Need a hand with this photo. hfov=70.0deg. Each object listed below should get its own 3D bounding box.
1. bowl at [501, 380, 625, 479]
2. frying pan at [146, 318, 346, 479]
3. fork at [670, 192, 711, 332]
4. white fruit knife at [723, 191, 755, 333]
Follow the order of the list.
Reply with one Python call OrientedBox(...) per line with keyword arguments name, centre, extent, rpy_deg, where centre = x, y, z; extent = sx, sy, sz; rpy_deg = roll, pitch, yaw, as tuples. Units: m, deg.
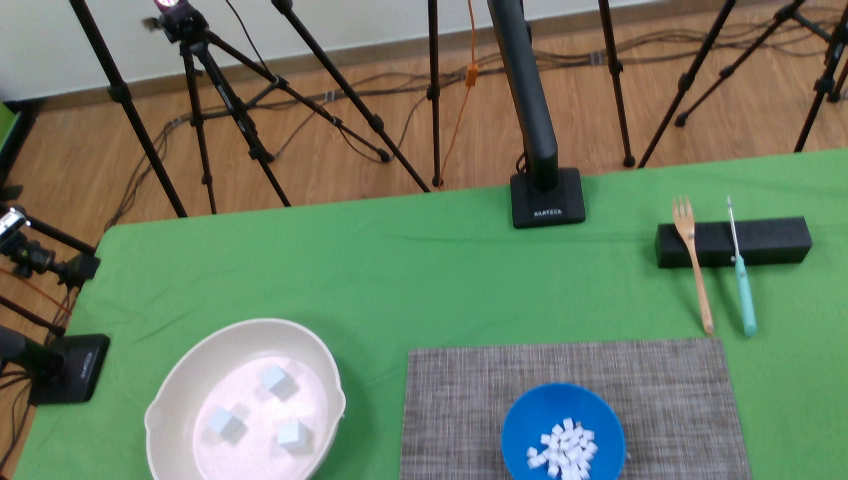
OrientedBox(name="bowl", centre=(0.177, 0.265, 0.775), extent=(0.151, 0.077, 0.150), rpy_deg=(-6, 56, 10))
OrientedBox(name="frying pan", centre=(-0.259, 0.336, 0.823), extent=(0.306, 0.104, 0.483), rpy_deg=(-5, 48, 11))
OrientedBox(name="fork", centre=(0.388, 0.030, 0.877), extent=(0.028, 0.019, 0.206), rpy_deg=(-8, 76, 3))
OrientedBox(name="white fruit knife", centre=(0.445, 0.028, 0.863), extent=(0.016, 0.027, 0.206), rpy_deg=(-7, 73, 16))
